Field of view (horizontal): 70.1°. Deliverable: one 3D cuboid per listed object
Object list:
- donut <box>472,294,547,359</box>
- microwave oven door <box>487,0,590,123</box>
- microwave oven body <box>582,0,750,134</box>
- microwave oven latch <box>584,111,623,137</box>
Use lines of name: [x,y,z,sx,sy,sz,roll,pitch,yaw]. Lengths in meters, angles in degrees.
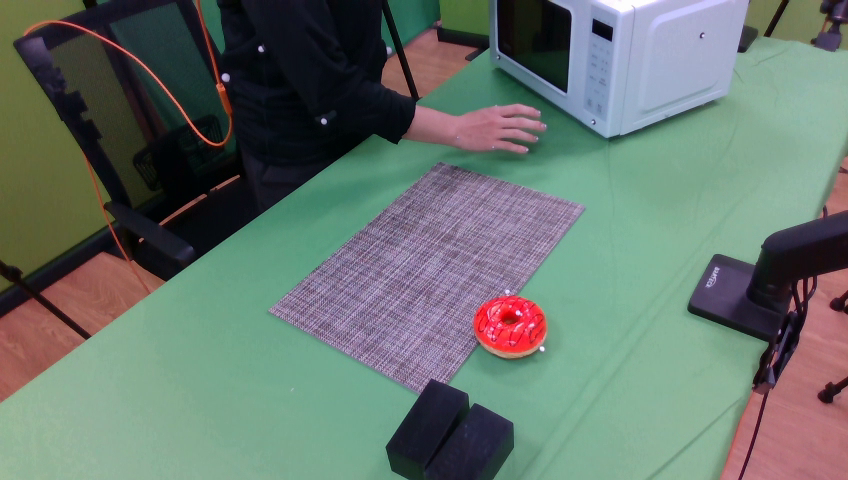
donut: [0.114,0.114,0.803,0.099,0.048,0.098,0,40,1]
microwave oven door: [0.232,-0.420,1.231,0.039,0.245,0.352,-22,43,-16]
microwave oven body: [0.382,-0.444,1.246,0.327,0.261,0.437,-22,42,-16]
microwave oven latch: [0.337,-0.222,1.142,0.030,0.029,0.078,-21,42,-14]
